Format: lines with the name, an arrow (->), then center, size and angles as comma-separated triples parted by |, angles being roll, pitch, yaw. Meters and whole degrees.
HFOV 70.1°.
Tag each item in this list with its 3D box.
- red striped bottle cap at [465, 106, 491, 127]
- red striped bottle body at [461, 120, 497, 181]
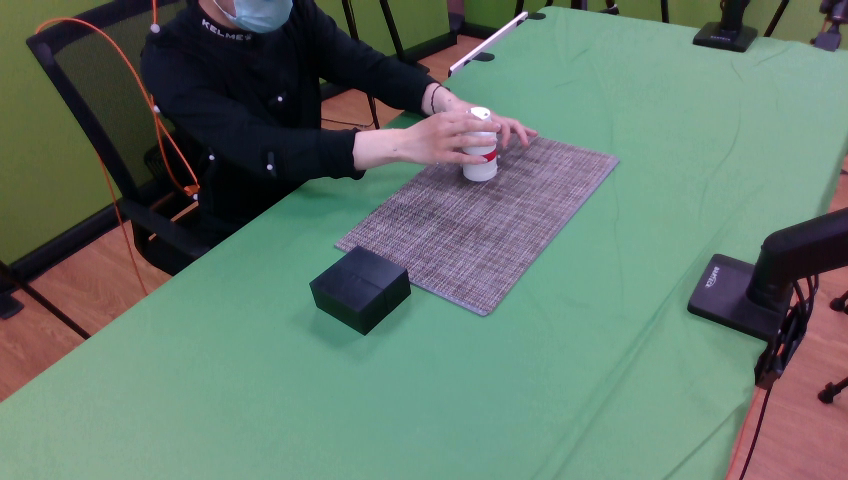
red striped bottle cap -> 0.092, -0.211, 1.034 | 0.044, 0.018, 0.044 | -3, 42, 3
red striped bottle body -> 0.098, -0.169, 1.070 | 0.063, 0.120, 0.062 | -4, 40, 4
